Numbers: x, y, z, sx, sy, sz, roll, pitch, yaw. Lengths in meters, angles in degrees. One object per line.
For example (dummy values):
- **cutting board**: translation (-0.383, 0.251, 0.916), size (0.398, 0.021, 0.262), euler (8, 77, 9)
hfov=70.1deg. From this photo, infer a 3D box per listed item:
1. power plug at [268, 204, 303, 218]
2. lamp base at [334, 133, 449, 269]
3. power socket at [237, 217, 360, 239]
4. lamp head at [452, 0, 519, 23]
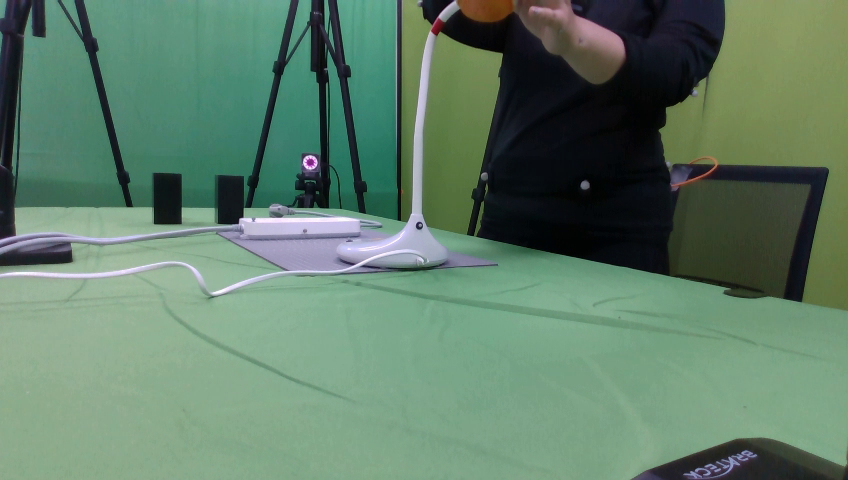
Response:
- **power plug**: translation (-0.327, -0.060, 1.404), size (0.073, 0.035, 0.052), euler (22, -14, -26)
- **lamp base**: translation (-0.034, -0.057, 0.831), size (0.161, 0.180, 0.178), euler (-3, 12, -36)
- **power socket**: translation (-0.221, -0.023, 1.080), size (0.228, 0.032, 0.072), euler (-2, 8, -32)
- **lamp head**: translation (0.072, -0.319, 0.706), size (0.112, 0.122, 0.112), euler (8, -1, 0)
